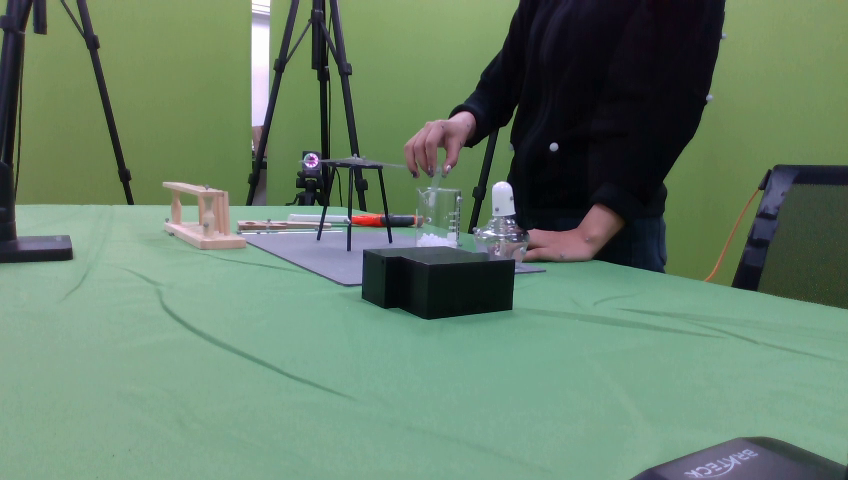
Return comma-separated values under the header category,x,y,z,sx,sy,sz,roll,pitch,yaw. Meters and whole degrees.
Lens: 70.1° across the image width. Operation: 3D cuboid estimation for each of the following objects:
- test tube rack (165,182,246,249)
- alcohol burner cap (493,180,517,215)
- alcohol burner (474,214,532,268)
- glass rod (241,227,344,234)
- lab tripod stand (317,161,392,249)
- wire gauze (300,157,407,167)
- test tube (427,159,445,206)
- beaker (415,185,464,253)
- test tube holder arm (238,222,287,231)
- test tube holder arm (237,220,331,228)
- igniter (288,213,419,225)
category,x,y,z,sx,sy,sz,roll,pitch,yaw
test tube rack,-0.360,-0.045,0.983,0.067,0.085,0.241,-3,9,-34
alcohol burner cap,0.107,-0.057,0.813,0.034,0.048,0.034,-6,11,2
alcohol burner,0.107,-0.022,0.819,0.078,0.119,0.078,1,9,0
glass rod,-0.239,-0.019,1.119,0.201,0.008,0.008,-3,9,-34
lab tripod stand,-0.111,-0.059,0.963,0.148,0.131,0.148,4,8,0
wire gauze,-0.112,-0.126,0.959,0.121,0.011,0.126,11,11,41
test tube,0.019,-0.095,1.026,0.017,0.017,0.150,1,-22,-6
beaker,0.021,-0.033,0.938,0.073,0.100,0.084,7,9,36
test tube holder arm,-0.296,-0.024,1.112,0.088,0.015,0.010,-2,41,-32
test tube holder arm,-0.260,-0.029,1.140,0.179,0.015,0.013,-2,41,-32
igniter,-0.145,-0.044,1.278,0.278,0.025,0.057,-1,-2,-21
